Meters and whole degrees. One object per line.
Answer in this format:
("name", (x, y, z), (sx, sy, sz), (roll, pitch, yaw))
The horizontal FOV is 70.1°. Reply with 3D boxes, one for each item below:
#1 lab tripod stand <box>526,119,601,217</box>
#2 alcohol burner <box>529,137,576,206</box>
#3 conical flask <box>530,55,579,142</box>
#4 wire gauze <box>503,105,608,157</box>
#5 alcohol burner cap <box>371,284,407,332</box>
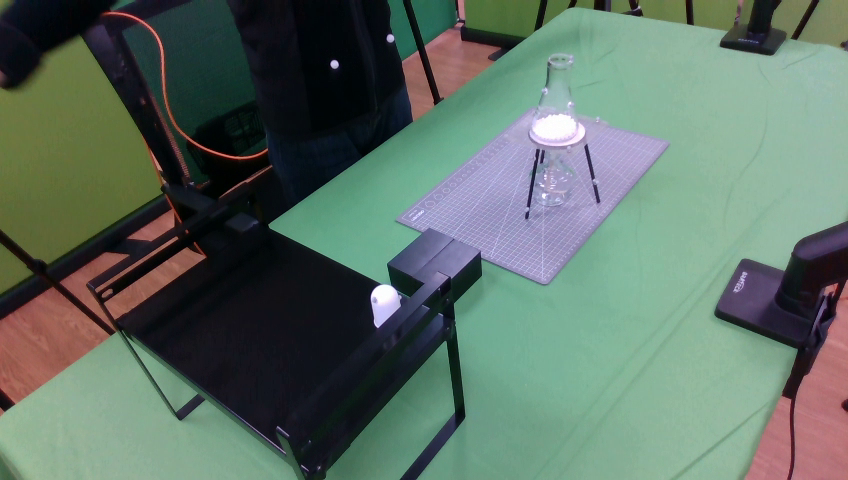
("lab tripod stand", (0.220, -0.122, 0.995), (0.148, 0.132, 0.147), (-3, 39, 3))
("alcohol burner", (0.214, -0.117, 1.005), (0.078, 0.119, 0.077), (-4, 38, 4))
("conical flask", (0.200, -0.216, 0.914), (0.075, 0.122, 0.075), (-3, 41, 3))
("wire gauze", (0.208, -0.172, 0.954), (0.120, 0.011, 0.125), (22, 50, 32))
("alcohol burner cap", (-0.037, 0.066, 0.608), (0.034, 0.048, 0.033), (-5, 40, 5))
